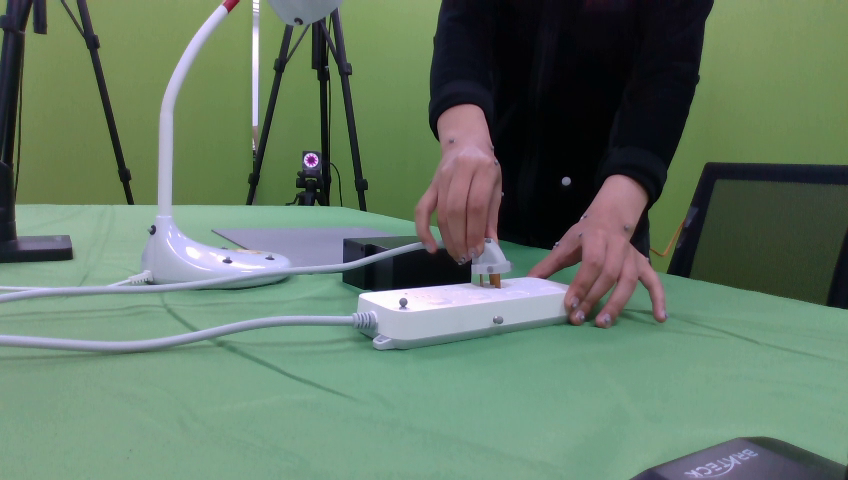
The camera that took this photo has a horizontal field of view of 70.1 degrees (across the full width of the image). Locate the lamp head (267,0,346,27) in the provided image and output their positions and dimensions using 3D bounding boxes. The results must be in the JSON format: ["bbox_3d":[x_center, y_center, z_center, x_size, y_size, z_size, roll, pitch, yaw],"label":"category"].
[{"bbox_3d":[-0.157,-0.326,0.701,0.112,0.112,0.123,6,-16,26],"label":"lamp head"}]

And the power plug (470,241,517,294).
[{"bbox_3d":[0.054,0.029,0.524,0.035,0.052,0.073,-21,-3,35],"label":"power plug"}]

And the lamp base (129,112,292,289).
[{"bbox_3d":[-0.233,-0.045,0.658,0.160,0.180,0.180,7,10,29],"label":"lamp base"}]

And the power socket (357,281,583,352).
[{"bbox_3d":[0.046,0.060,0.522,0.228,0.032,0.072,-2,7,-35],"label":"power socket"}]
